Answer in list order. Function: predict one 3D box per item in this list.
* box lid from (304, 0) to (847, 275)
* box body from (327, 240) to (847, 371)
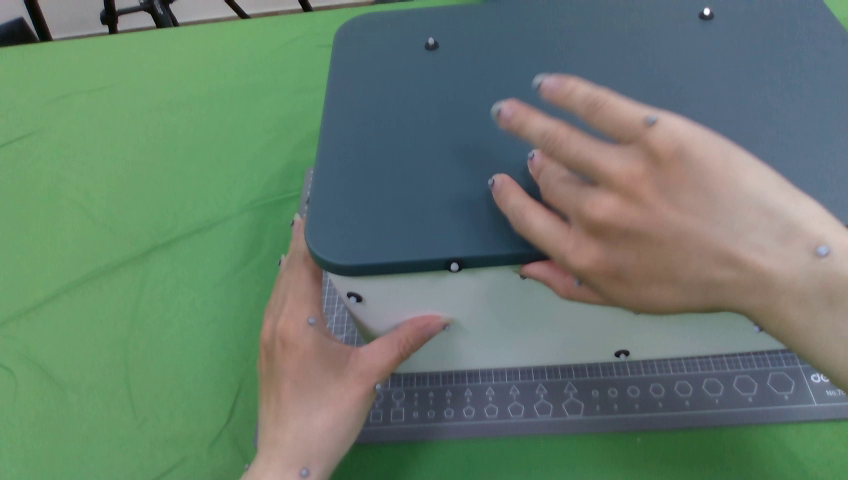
[{"bbox_3d":[0.109,-0.094,0.410,0.371,0.015,0.260,-4,51,5],"label":"box lid"},{"bbox_3d":[0.121,-0.047,0.467,0.364,0.162,0.251,-5,50,5],"label":"box body"}]
